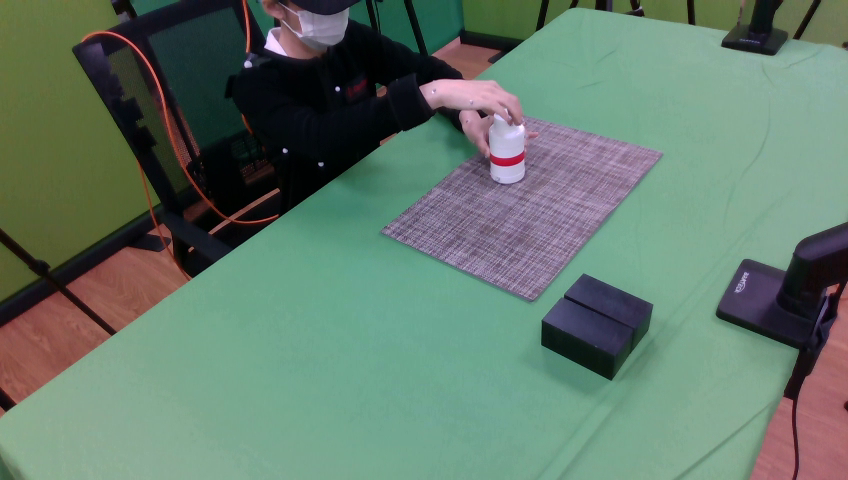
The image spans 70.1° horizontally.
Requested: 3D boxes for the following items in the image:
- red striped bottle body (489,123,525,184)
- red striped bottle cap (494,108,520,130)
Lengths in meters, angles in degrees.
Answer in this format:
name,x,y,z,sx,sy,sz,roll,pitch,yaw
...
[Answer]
name,x,y,z,sx,sy,sz,roll,pitch,yaw
red striped bottle body,0.147,-0.164,1.064,0.063,0.120,0.062,-5,40,4
red striped bottle cap,0.141,-0.207,1.028,0.044,0.018,0.044,-6,40,6
